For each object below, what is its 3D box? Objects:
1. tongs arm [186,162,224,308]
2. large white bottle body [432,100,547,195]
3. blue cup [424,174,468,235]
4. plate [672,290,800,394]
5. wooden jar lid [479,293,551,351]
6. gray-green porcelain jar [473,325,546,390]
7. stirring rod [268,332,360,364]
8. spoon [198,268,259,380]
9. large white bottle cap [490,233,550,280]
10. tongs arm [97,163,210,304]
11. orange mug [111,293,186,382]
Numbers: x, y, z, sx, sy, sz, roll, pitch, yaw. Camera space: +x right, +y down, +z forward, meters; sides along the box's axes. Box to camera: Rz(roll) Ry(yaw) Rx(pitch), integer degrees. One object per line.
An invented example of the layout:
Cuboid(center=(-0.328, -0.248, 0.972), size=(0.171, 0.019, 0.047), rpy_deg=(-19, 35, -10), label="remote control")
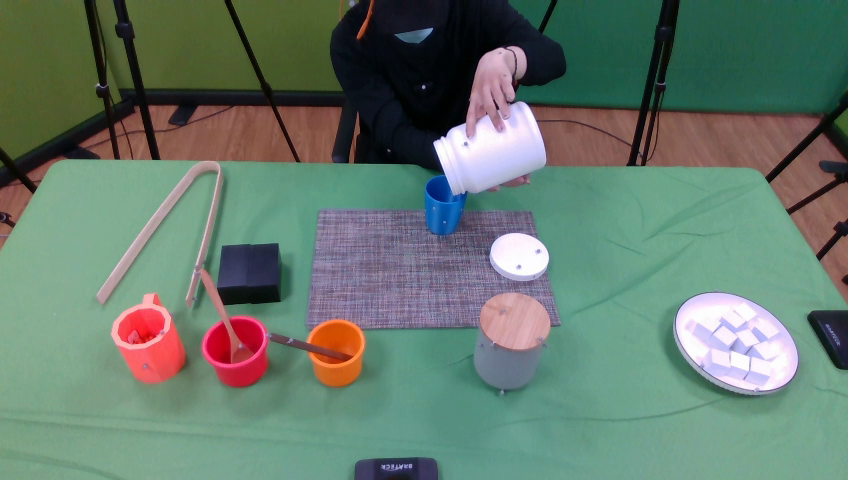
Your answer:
Cuboid(center=(-0.436, -0.024, 1.181), size=(0.051, 0.026, 0.382), rpy_deg=(-2, 45, 0), label="tongs arm")
Cuboid(center=(0.119, -0.165, 1.121), size=(0.184, 0.131, 0.129), rpy_deg=(-21, 48, 5), label="large white bottle body")
Cuboid(center=(0.039, -0.065, 1.201), size=(0.093, 0.101, 0.092), rpy_deg=(3, 47, -3), label="blue cup")
Cuboid(center=(0.533, 0.178, 1.050), size=(0.208, 0.039, 0.206), rpy_deg=(2, 46, -2), label="plate")
Cuboid(center=(0.138, 0.127, 0.925), size=(0.108, 0.021, 0.107), rpy_deg=(1, 47, -1), label="wooden jar lid")
Cuboid(center=(0.135, 0.170, 0.969), size=(0.106, 0.127, 0.105), rpy_deg=(2, 46, -2), label="gray-green porcelain jar")
Cuboid(center=(-0.167, 0.169, 0.942), size=(0.177, 0.006, 0.014), rpy_deg=(26, 27, -41), label="stirring rod")
Cuboid(center=(-0.312, 0.133, 0.962), size=(0.041, 0.021, 0.194), rpy_deg=(-24, 96, -22), label="spoon")
Cuboid(center=(0.186, 0.031, 1.177), size=(0.115, 0.018, 0.114), rpy_deg=(2, 46, -2), label="large white bottle cap")
Cuboid(center=(-0.519, -0.028, 1.183), size=(0.028, 0.028, 0.385), rpy_deg=(5, 45, 12), label="tongs arm")
Cuboid(center=(-0.435, 0.149, 0.969), size=(0.083, 0.101, 0.125), rpy_deg=(-5, 51, -8), label="orange mug")
